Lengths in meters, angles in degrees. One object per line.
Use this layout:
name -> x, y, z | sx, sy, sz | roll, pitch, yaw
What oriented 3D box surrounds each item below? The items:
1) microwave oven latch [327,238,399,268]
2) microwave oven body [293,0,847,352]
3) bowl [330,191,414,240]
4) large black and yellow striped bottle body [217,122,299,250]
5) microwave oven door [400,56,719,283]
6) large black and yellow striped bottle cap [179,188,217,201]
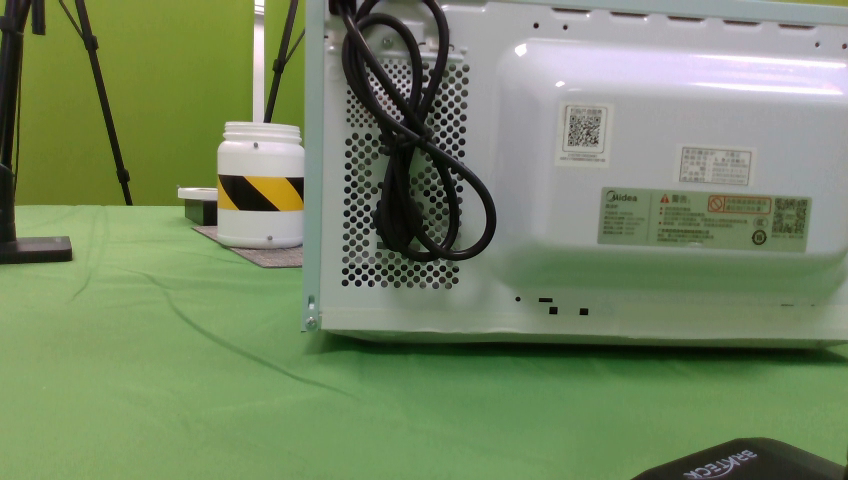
microwave oven latch -> -0.069, 0.015, 0.694 | 0.079, 0.029, 0.030 | 3, 7, -3
microwave oven body -> 0.122, -0.055, 0.550 | 0.442, 0.260, 0.325 | 3, 7, -5
bowl -> -0.095, -0.044, 1.096 | 0.151, 0.077, 0.151 | 3, 8, 0
large black and yellow striped bottle body -> -0.250, -0.084, 0.931 | 0.131, 0.184, 0.130 | 2, 7, 0
microwave oven door -> 0.155, -0.077, 0.698 | 0.356, 0.243, 0.039 | 2, 8, -5
large black and yellow striped bottle cap -> -0.434, -0.093, 1.226 | 0.115, 0.019, 0.115 | 3, 9, 0
